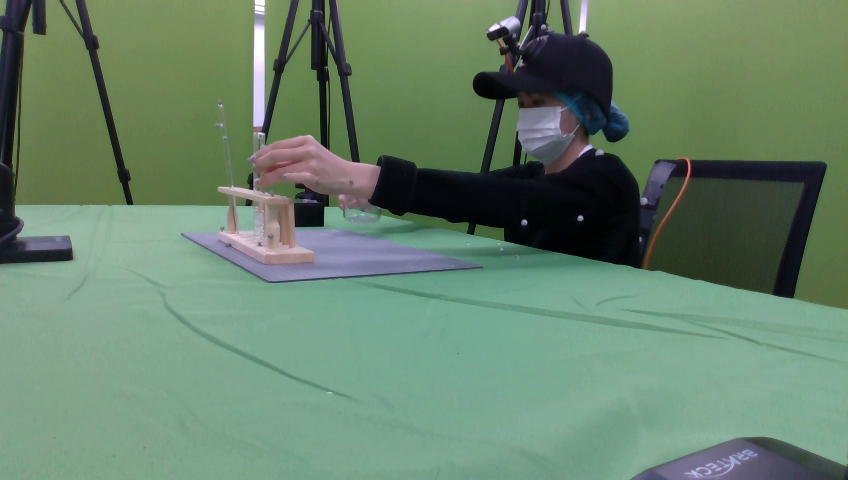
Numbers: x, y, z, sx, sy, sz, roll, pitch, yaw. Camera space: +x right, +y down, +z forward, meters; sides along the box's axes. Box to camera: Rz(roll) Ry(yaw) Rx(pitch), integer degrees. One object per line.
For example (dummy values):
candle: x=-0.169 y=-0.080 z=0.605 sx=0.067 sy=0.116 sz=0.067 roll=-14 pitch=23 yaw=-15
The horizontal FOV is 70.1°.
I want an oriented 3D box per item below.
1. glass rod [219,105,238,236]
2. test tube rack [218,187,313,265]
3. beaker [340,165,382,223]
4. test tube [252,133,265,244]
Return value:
glass rod: x=-0.294 y=-0.100 z=0.908 sx=0.008 sy=0.199 sz=0.008 roll=-3 pitch=12 yaw=1
test tube rack: x=-0.235 y=-0.027 z=0.872 sx=0.067 sy=0.085 sz=0.241 roll=-2 pitch=8 yaw=-32
beaker: x=-0.113 y=-0.084 z=1.103 sx=0.074 sy=0.100 sz=0.083 roll=-5 pitch=14 yaw=-30
test tube: x=-0.224 y=-0.070 z=0.819 sx=0.017 sy=0.150 sz=0.017 roll=2 pitch=7 yaw=0
